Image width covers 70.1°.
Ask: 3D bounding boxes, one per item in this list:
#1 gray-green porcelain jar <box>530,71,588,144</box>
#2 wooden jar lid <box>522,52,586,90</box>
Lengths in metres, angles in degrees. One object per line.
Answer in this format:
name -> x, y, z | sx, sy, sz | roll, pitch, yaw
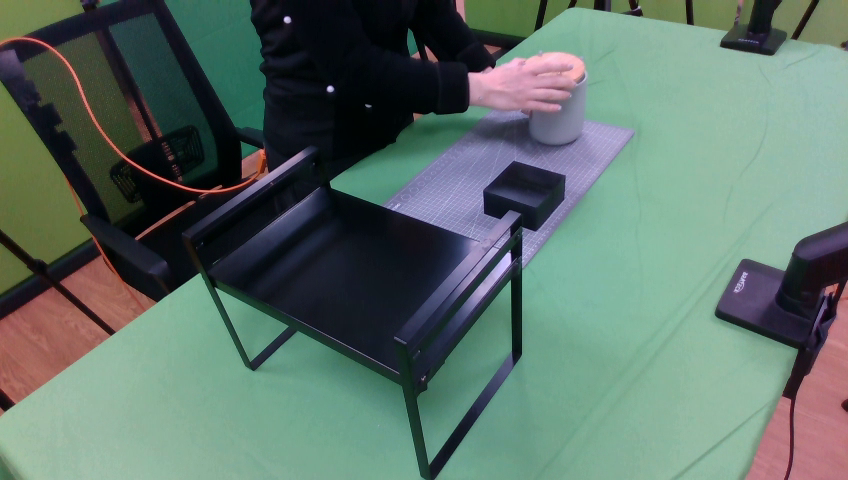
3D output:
gray-green porcelain jar -> 0.254, -0.256, 1.151 | 0.106, 0.127, 0.105 | -4, 41, 4
wooden jar lid -> 0.223, -0.291, 1.044 | 0.108, 0.021, 0.108 | -4, 43, 4
